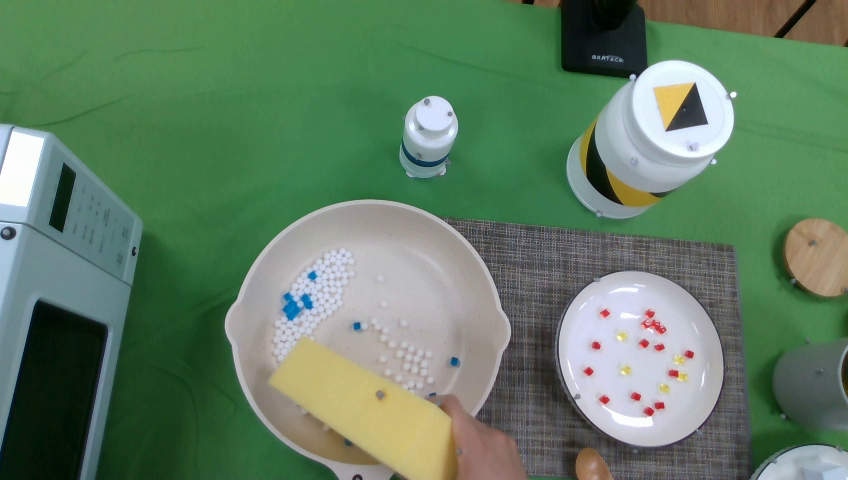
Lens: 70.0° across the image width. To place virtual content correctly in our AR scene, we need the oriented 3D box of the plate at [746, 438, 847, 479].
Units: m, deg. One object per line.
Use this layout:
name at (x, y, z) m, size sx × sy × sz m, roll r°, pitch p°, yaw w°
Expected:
plate at (0.462, 0.339, 0.712) m, size 0.208 × 0.039 × 0.206 m, roll 2°, pitch 75°, yaw -7°

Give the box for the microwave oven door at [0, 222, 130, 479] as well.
microwave oven door at (-0.341, 0.184, 0.518) m, size 0.039 × 0.244 × 0.354 m, roll 5°, pitch 74°, yaw -6°

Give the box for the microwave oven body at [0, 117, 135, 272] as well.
microwave oven body at (-0.482, 0.131, 0.518) m, size 0.327 × 0.261 × 0.439 m, roll 6°, pitch 75°, yaw -6°

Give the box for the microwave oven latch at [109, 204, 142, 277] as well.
microwave oven latch at (-0.336, 0.000, 0.672) m, size 0.030 × 0.029 × 0.079 m, roll 8°, pitch 75°, yaw -6°

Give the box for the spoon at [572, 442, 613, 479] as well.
spoon at (0.238, 0.309, 0.695) m, size 0.193 × 0.022 × 0.041 m, roll 45°, pitch 57°, yaw 4°

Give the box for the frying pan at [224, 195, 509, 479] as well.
frying pan at (-0.064, 0.192, 0.642) m, size 0.307 × 0.103 × 0.484 m, roll 4°, pitch 67°, yaw -4°

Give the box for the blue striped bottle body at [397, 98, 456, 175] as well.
blue striped bottle body at (0.003, -0.128, 0.728) m, size 0.063 × 0.121 × 0.062 m, roll 2°, pitch 75°, yaw -7°

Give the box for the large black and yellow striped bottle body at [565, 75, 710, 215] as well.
large black and yellow striped bottle body at (0.259, -0.116, 0.727) m, size 0.131 × 0.184 × 0.130 m, roll 2°, pitch 74°, yaw -7°

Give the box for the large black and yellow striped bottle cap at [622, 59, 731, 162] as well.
large black and yellow striped bottle cap at (0.269, -0.139, 0.644) m, size 0.115 × 0.019 × 0.114 m, roll 2°, pitch 74°, yaw -7°

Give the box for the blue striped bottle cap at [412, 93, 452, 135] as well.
blue striped bottle cap at (0.009, -0.141, 0.678) m, size 0.044 × 0.021 × 0.044 m, roll 2°, pitch 72°, yaw -5°

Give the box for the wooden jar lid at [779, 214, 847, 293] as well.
wooden jar lid at (0.525, 0.019, 0.812) m, size 0.108 × 0.021 × 0.108 m, roll 2°, pitch 77°, yaw -7°

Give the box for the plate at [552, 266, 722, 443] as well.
plate at (0.253, 0.135, 0.732) m, size 0.209 × 0.038 × 0.208 m, roll 2°, pitch 76°, yaw -6°

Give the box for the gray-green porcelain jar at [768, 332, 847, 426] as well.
gray-green porcelain jar at (0.485, 0.165, 0.714) m, size 0.106 × 0.127 × 0.105 m, roll 2°, pitch 75°, yaw -7°

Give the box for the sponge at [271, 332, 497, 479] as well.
sponge at (-0.045, 0.172, 0.590) m, size 0.060 × 0.205 × 0.119 m, roll -55°, pitch 131°, yaw -18°
